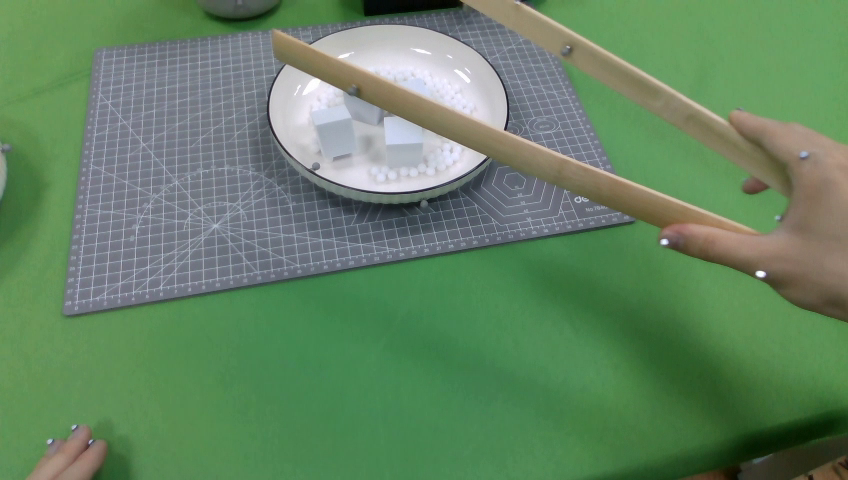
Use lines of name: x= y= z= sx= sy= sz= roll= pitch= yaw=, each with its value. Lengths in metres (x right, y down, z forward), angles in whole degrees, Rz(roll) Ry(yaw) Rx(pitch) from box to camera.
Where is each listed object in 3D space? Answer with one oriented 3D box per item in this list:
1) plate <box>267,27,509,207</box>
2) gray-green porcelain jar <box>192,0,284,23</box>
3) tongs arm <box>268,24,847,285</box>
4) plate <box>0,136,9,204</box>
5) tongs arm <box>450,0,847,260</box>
plate: x=-0.031 y=-0.109 z=0.536 sx=0.209 sy=0.038 sz=0.207 roll=1 pitch=56 yaw=-1
gray-green porcelain jar: x=-0.194 y=-0.293 z=0.603 sx=0.106 sy=0.127 sz=0.105 roll=1 pitch=56 yaw=-1
tongs arm: x=0.066 y=-0.058 z=0.381 sx=0.386 sy=0.028 sz=0.028 roll=25 pitch=54 yaw=11
plate: x=-0.429 y=-0.029 z=0.467 sx=0.208 sy=0.039 sz=0.205 roll=1 pitch=56 yaw=-2
tongs arm: x=0.110 y=-0.108 z=0.417 sx=0.382 sy=0.027 sz=0.050 roll=36 pitch=59 yaw=16
